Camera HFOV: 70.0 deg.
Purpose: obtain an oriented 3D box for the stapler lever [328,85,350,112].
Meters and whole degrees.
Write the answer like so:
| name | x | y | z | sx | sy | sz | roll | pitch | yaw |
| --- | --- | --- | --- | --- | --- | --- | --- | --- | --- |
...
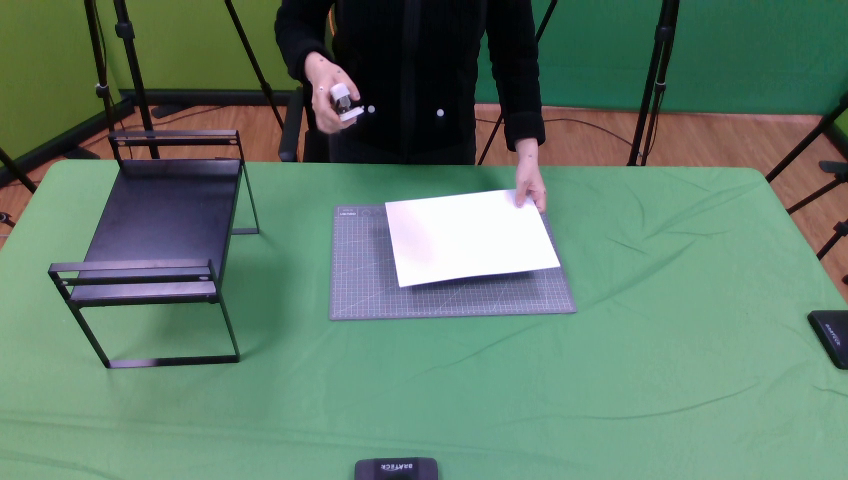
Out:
| name | x | y | z | sx | sy | sz | roll | pitch | yaw |
| --- | --- | --- | --- | --- | --- | --- | --- | --- | --- |
| stapler lever | -0.149 | -0.242 | 1.040 | 0.027 | 0.040 | 0.117 | -28 | 16 | -9 |

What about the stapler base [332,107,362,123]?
| name | x | y | z | sx | sy | sz | roll | pitch | yaw |
| --- | --- | --- | --- | --- | --- | --- | --- | --- | --- |
| stapler base | -0.137 | -0.222 | 1.046 | 0.041 | 0.024 | 0.130 | -28 | 15 | -9 |
